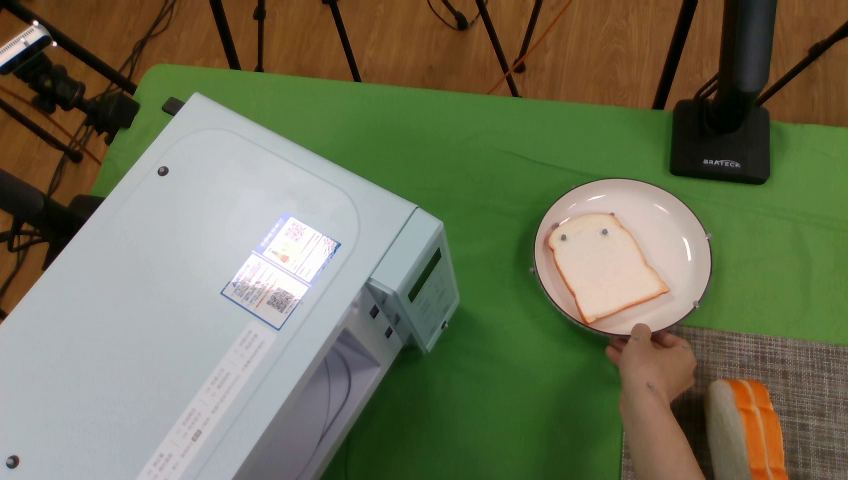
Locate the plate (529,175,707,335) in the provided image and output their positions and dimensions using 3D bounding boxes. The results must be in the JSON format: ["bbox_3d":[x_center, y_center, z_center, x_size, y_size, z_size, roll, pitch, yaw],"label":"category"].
[{"bbox_3d":[0.234,0.019,0.743,0.207,0.039,0.206,-3,66,6],"label":"plate"}]

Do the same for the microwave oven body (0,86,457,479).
[{"bbox_3d":[-0.218,0.124,0.633,0.324,0.262,0.440,28,75,16],"label":"microwave oven body"}]

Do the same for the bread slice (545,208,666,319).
[{"bbox_3d":[0.210,0.024,0.742,0.107,0.018,0.133,-24,63,-7],"label":"bread slice"}]

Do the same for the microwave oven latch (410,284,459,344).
[{"bbox_3d":[0.012,0.084,0.726,0.030,0.030,0.079,30,75,17],"label":"microwave oven latch"}]
